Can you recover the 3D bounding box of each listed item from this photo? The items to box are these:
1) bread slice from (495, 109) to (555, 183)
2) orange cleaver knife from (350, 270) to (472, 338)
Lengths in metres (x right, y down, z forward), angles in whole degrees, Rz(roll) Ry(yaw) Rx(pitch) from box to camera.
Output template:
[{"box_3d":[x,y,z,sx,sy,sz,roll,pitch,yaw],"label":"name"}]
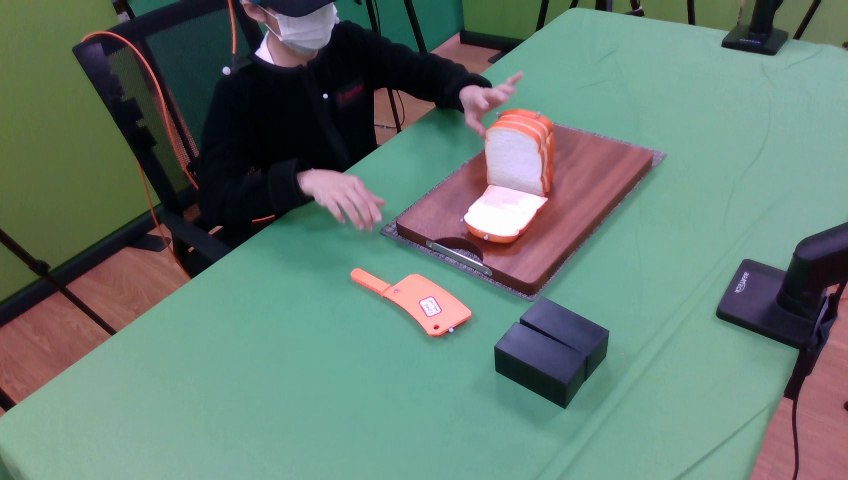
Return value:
[{"box_3d":[0.168,-0.155,1.000,0.106,0.135,0.018,18,53,19],"label":"bread slice"},{"box_3d":[-0.023,0.080,0.889,0.209,0.012,0.077,27,54,37],"label":"orange cleaver knife"}]
